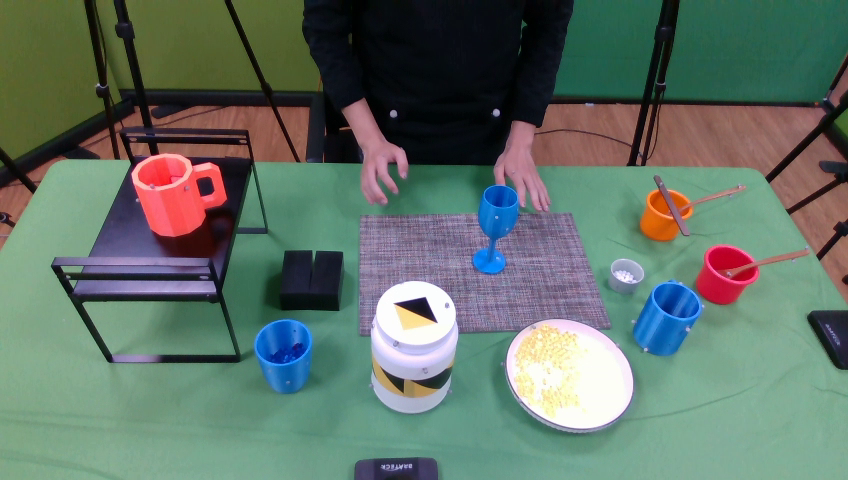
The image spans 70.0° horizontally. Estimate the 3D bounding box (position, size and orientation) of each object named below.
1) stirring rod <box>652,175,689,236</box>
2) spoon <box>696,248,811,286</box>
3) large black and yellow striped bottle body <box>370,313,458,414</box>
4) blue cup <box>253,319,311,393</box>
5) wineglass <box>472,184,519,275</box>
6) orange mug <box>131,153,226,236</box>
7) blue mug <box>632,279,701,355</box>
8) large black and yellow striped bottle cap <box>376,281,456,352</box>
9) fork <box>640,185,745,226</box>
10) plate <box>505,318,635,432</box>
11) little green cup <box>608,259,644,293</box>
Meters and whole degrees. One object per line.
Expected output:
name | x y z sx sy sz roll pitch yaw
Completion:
stirring rod | 0.491 -0.072 1.211 0.014 0.006 0.175 0 46 -8
spoon | 0.601 0.048 1.112 0.193 0.022 0.041 -25 32 35
large black and yellow striped bottle body | -0.017 0.165 0.924 0.131 0.185 0.130 2 46 -2
blue cup | -0.217 0.187 0.943 0.093 0.101 0.092 3 45 -3
wineglass | 0.129 -0.018 1.113 0.074 0.173 0.073 2 46 -2
orange mug | -0.375 -0.075 0.937 0.126 0.101 0.083 -20 50 -17
blue mug | 0.419 0.124 1.052 0.082 0.106 0.116 14 46 9
large black and yellow striped bottle cap | -0.011 0.107 0.863 0.115 0.019 0.114 2 47 -2
fork | 0.534 -0.069 1.215 0.207 0.019 0.028 -26 27 33
plate | 0.235 0.221 0.991 0.209 0.038 0.208 2 45 -2
little green cup | 0.379 0.070 1.147 0.061 0.039 0.061 3 45 -2
